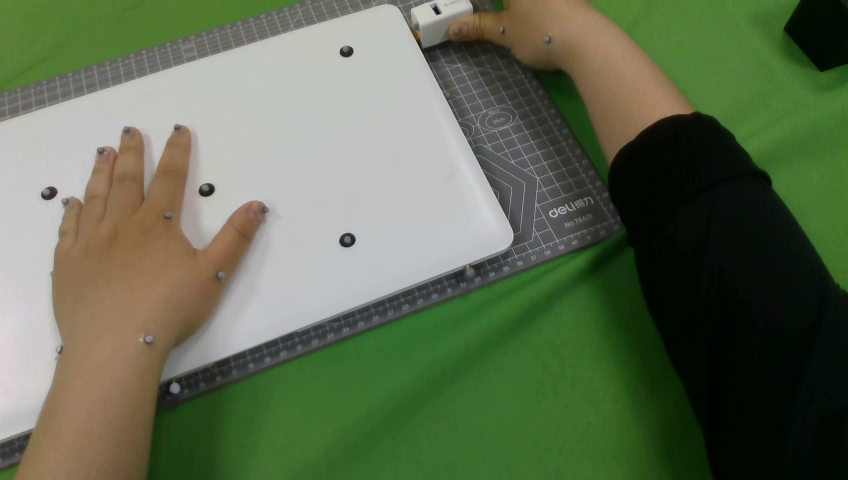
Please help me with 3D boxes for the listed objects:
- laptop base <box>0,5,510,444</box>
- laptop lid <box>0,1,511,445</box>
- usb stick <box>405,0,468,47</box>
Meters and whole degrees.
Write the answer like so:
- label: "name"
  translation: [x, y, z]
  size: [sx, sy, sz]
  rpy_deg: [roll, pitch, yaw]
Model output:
- label: "laptop base"
  translation: [-0.146, -0.030, 0.418]
  size: [0.355, 0.023, 0.233]
  rpy_deg: [-21, 68, -8]
- label: "laptop lid"
  translation: [-0.146, -0.033, 0.408]
  size: [0.357, 0.013, 0.239]
  rpy_deg: [-19, 66, -7]
- label: "usb stick"
  translation: [0.003, -0.169, 0.468]
  size: [0.059, 0.027, 0.021]
  rpy_deg: [-23, 57, -3]
